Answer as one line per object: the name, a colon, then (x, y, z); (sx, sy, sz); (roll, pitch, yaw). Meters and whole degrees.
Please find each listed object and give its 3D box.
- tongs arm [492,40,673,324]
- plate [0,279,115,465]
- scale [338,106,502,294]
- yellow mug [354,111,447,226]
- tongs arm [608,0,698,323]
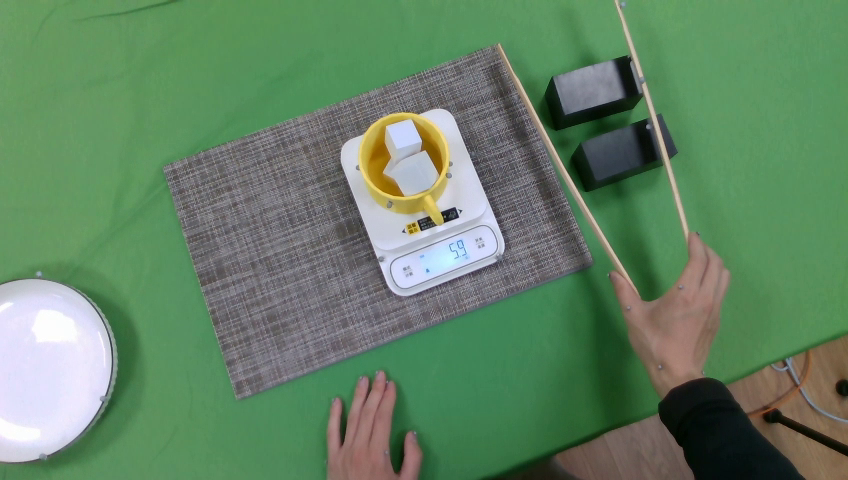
tongs arm: (0.171, -0.072, 0.695); (0.028, 0.028, 0.385); (-28, 77, 5)
plate: (-0.457, 0.149, 0.699); (0.208, 0.039, 0.207); (0, 81, 1)
scale: (-0.006, -0.049, 0.723); (0.149, 0.031, 0.200); (-21, 82, -2)
yellow mug: (-0.017, -0.073, 0.679); (0.100, 0.064, 0.130); (-31, 83, -5)
tongs arm: (0.242, -0.100, 0.679); (0.051, 0.026, 0.383); (-17, 80, 11)
